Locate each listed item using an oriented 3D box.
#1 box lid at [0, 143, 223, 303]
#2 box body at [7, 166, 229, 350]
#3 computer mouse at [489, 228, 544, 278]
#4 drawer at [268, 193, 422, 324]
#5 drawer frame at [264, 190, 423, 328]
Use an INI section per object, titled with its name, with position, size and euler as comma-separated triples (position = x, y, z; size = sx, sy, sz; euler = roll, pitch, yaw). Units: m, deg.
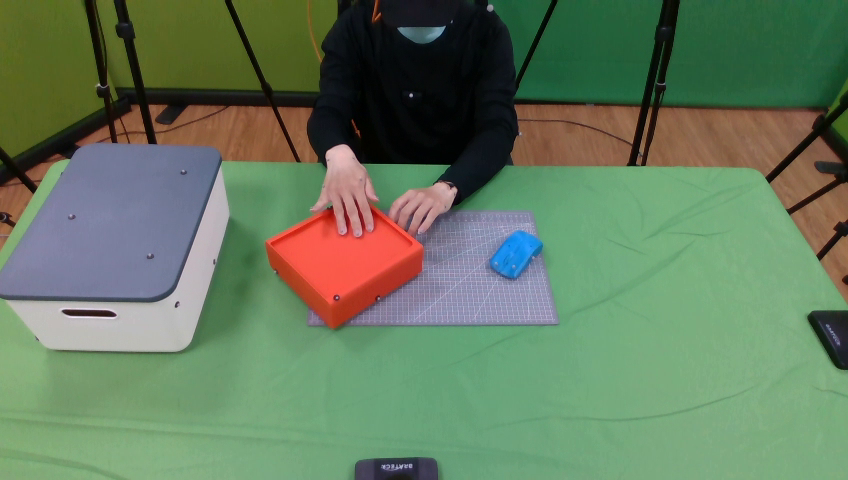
[box lid]
position = -0.499, -0.045, 1.002
size = 0.263, 0.015, 0.369
euler = 2, 46, -3
[box body]
position = -0.502, 0.008, 1.054
size = 0.254, 0.161, 0.361
euler = 1, 46, -3
[computer mouse]
position = 0.180, 0.022, 1.175
size = 0.062, 0.041, 0.117
euler = 33, 57, 23
[drawer]
position = -0.143, 0.028, 1.117
size = 0.212, 0.073, 0.193
euler = -33, 57, -29
[drawer frame]
position = -0.144, 0.028, 1.114
size = 0.213, 0.083, 0.200
euler = -34, 57, -29
